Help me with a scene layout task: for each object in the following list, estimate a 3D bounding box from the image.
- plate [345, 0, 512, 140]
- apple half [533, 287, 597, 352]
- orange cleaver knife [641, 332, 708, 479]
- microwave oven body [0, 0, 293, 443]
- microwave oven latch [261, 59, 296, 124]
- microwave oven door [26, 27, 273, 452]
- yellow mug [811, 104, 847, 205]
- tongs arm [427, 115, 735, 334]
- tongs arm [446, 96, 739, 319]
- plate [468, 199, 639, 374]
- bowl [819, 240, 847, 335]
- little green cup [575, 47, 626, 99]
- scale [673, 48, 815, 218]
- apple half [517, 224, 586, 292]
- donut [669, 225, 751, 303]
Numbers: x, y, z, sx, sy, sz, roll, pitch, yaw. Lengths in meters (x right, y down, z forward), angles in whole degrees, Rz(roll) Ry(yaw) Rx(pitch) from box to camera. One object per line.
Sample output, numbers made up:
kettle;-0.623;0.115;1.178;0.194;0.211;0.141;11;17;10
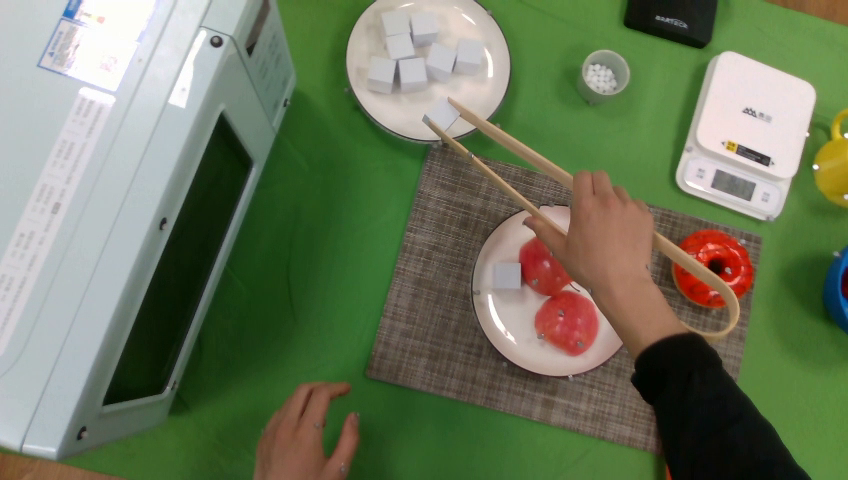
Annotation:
plate;0.006;-0.222;0.767;0.208;0.039;0.207;1;81;-5
apple half;0.174;0.092;0.725;0.081;0.033;0.081;0;82;-1
orange cleaver knife;0.309;0.219;0.735;0.077;0.012;0.210;-1;80;-11
microwave oven body;-0.365;-0.078;0.592;0.326;0.260;0.440;19;81;-3
microwave oven latch;-0.179;-0.181;0.723;0.030;0.029;0.079;21;81;-2
microwave oven door;-0.240;0.007;0.586;0.039;0.244;0.354;18;80;-2
yellow mug;0.569;-0.115;0.791;0.100;0.064;0.130;-17;82;-7
tongs arm;0.147;-0.032;0.639;0.051;0.027;0.381;-41;67;-9
tongs arm;0.163;-0.048;0.643;0.384;0.028;0.028;40;75;22
plate;0.155;0.056;0.735;0.209;0.038;0.208;1;81;-5
bowl;0.556;0.063;0.757;0.151;0.077;0.151;1;82;-5
little green cup;0.226;-0.214;0.787;0.061;0.039;0.061;1;81;-5
scale;0.422;-0.142;0.798;0.149;0.031;0.200;20;80;-2
apple half;0.155;0.018;0.725;0.081;0.053;0.074;-28;82;-9
donut;0.355;0.030;0.756;0.099;0.048;0.098;1;82;-3
